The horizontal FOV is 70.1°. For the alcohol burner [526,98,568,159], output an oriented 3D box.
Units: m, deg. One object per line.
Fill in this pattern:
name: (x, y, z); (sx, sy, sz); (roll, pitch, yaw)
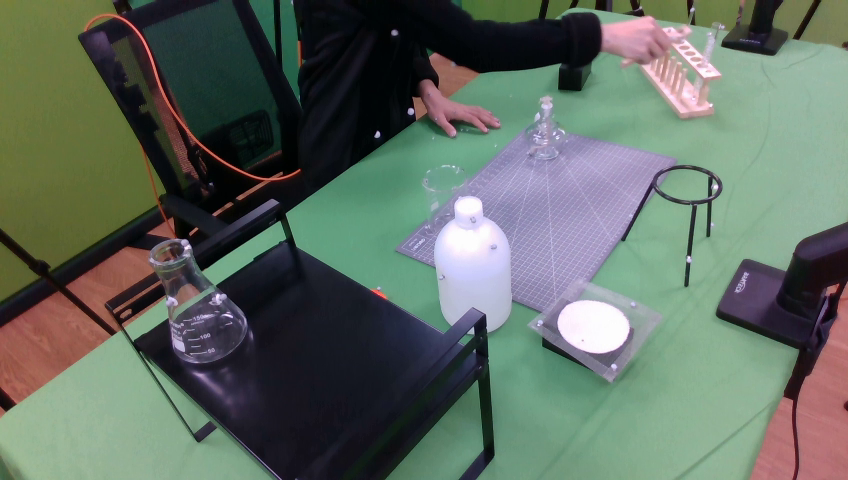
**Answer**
alcohol burner: (0.228, -0.210, 1.118); (0.078, 0.119, 0.077); (-5, 43, 5)

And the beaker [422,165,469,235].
beaker: (0.041, -0.063, 0.986); (0.073, 0.101, 0.084); (20, 47, 29)

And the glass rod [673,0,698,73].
glass rod: (0.537, -0.424, 1.244); (0.008, 0.200, 0.008); (0, 47, 0)

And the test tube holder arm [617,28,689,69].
test tube holder arm: (0.413, -0.345, 1.085); (0.179, 0.015, 0.013); (-30, 69, -22)

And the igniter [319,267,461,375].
igniter: (-0.060, 0.108, 0.862); (0.274, 0.025, 0.057); (28, 62, 35)

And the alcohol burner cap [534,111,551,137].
alcohol burner cap: (0.234, -0.231, 1.197); (0.034, 0.048, 0.033); (-5, 37, 5)

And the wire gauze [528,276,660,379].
wire gauze: (0.214, 0.103, 0.763); (0.124, 0.011, 0.122); (30, 53, 35)

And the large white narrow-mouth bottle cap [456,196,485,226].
large white narrow-mouth bottle cap: (0.058, -0.036, 0.749); (0.038, 0.024, 0.037); (-4, 40, 4)

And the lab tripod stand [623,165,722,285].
lab tripod stand: (0.365, -0.030, 0.874); (0.148, 0.132, 0.147); (-6, 41, 6)

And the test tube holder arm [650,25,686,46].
test tube holder arm: (0.446, -0.370, 1.104); (0.088, 0.015, 0.010); (-31, 70, -23)

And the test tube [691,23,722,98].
test tube: (0.547, -0.345, 1.173); (0.017, 0.151, 0.017); (0, 42, 0)

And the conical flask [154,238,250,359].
conical flask: (-0.225, 0.055, 0.597); (0.075, 0.122, 0.075); (-5, 41, 4)

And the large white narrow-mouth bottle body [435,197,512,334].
large white narrow-mouth bottle body: (0.066, 0.028, 0.805); (0.102, 0.195, 0.101); (-4, 40, 4)

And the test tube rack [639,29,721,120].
test tube rack: (0.527, -0.351, 1.262); (0.067, 0.085, 0.241); (-8, 40, 1)
